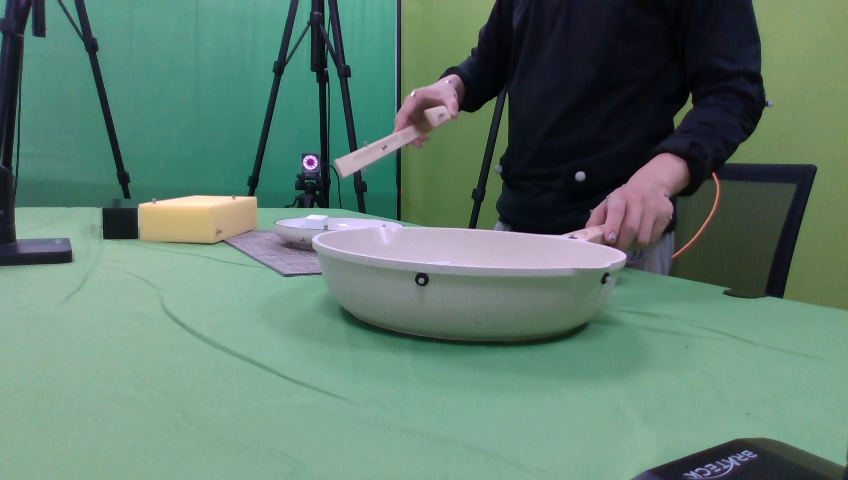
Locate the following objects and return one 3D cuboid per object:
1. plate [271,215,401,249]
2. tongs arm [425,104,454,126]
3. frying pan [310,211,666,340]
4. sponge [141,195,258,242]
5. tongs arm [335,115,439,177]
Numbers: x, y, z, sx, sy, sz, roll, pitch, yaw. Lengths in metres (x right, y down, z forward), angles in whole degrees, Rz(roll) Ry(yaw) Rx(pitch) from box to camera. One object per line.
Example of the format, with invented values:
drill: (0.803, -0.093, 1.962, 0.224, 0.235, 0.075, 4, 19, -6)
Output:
plate: (-0.141, -0.012, 0.978, 0.208, 0.039, 0.207, 3, 7, 0)
tongs arm: (0.024, -0.191, 0.919, 0.028, 0.028, 0.387, -33, 8, 11)
frying pan: (0.120, 0.012, 0.643, 0.490, 0.102, 0.305, -13, 16, -36)
sponge: (-0.380, -0.040, 1.047, 0.118, 0.061, 0.207, 1, 8, 3)
tongs arm: (-0.040, -0.159, 0.942, 0.050, 0.026, 0.385, -28, 8, 22)
